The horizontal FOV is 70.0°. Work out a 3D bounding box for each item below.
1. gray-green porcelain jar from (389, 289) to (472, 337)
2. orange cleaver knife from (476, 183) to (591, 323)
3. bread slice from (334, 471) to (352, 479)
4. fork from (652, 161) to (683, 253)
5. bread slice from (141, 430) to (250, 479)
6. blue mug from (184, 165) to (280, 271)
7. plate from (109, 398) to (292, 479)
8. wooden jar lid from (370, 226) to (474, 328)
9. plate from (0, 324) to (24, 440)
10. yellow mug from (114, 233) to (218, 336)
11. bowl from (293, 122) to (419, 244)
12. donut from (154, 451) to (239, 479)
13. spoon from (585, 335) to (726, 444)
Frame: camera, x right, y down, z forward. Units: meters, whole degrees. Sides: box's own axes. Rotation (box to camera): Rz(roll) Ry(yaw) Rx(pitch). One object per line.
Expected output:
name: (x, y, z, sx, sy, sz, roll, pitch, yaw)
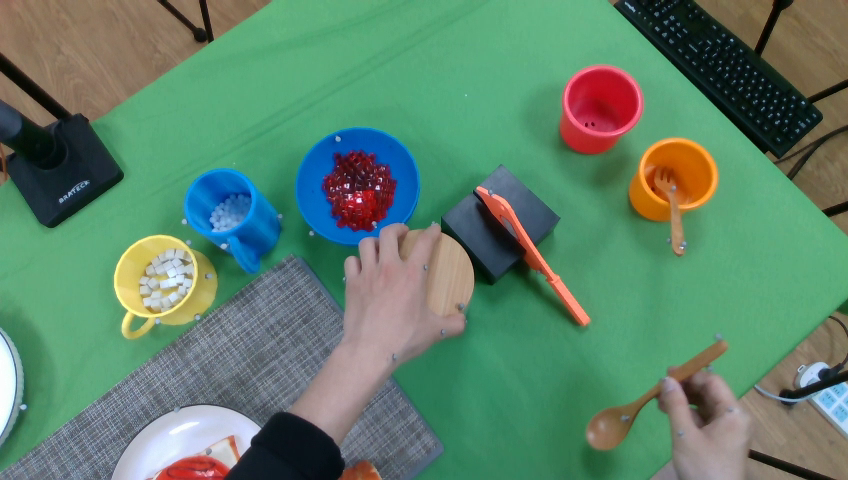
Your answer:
gray-green porcelain jar: (0.001, 0.056, 0.697, 0.106, 0.127, 0.105, 0, 75, 2)
orange cleaver knife: (0.130, 0.016, 0.725, 0.012, 0.076, 0.212, -41, 107, -8)
bread slice: (-0.065, 0.292, 0.634, 0.018, 0.135, 0.106, -30, 74, -14)
fork: (0.284, -0.044, 0.702, 0.028, 0.019, 0.206, 22, 33, 2)
bread slice: (-0.261, 0.294, 0.688, 0.131, 0.019, 0.104, -25, 76, -9)
blue mug: (-0.225, -0.018, 0.734, 0.082, 0.106, 0.116, -19, 75, -3)
plate: (-0.249, 0.287, 0.686, 0.209, 0.038, 0.208, 0, 75, 2)
wooden jar lid: (-0.002, 0.039, 0.634, 0.108, 0.021, 0.108, 0, 76, 0)
plate: (-0.580, 0.182, 0.727, 0.207, 0.039, 0.206, 0, 75, 2)
yellow mug: (-0.320, 0.060, 0.737, 0.099, 0.064, 0.130, 28, 79, 9)
bowl: (-0.079, -0.060, 0.754, 0.151, 0.077, 0.150, 0, 76, 2)
donut: (-0.247, 0.281, 0.658, 0.099, 0.048, 0.098, 0, 76, -2)
spoon: (0.230, 0.153, 0.616, 0.022, 0.194, 0.041, 11, 45, -25)
